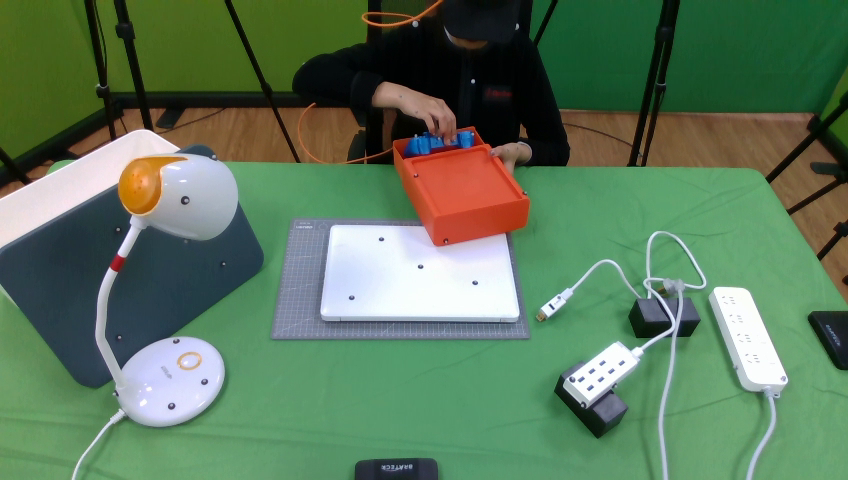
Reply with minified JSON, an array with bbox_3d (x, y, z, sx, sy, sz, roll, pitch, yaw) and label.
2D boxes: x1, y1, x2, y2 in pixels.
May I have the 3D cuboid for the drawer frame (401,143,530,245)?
[{"bbox_3d":[0.079,-0.099,1.233,0.202,0.083,0.212,-12,42,-14],"label":"drawer frame"}]

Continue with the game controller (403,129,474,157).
[{"bbox_3d":[0.035,-0.213,1.317,0.155,0.051,0.097,-10,8,-14],"label":"game controller"}]

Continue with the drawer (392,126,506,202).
[{"bbox_3d":[0.052,-0.151,1.293,0.195,0.073,0.210,-11,41,-12],"label":"drawer"}]

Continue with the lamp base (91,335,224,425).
[{"bbox_3d":[-0.401,0.171,0.892,0.160,0.181,0.179,30,53,23],"label":"lamp base"}]

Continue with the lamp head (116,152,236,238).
[{"bbox_3d":[-0.315,-0.057,0.748,0.112,0.112,0.123,26,10,20],"label":"lamp head"}]

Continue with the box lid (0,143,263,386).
[{"bbox_3d":[-0.444,0.032,0.979,0.015,0.264,0.371,13,42,41],"label":"box lid"}]

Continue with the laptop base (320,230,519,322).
[{"bbox_3d":[-0.009,0.062,1.138,0.354,0.023,0.234,1,43,-3],"label":"laptop base"}]

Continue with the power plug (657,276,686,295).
[{"bbox_3d":[0.450,0.087,1.113,0.073,0.052,0.035,-13,71,-55],"label":"power plug"}]

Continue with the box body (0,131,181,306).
[{"bbox_3d":[-0.550,-0.007,1.068,0.253,0.161,0.363,30,51,23],"label":"box body"}]

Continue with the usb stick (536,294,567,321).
[{"bbox_3d":[0.226,0.123,1.083,0.059,0.027,0.021,-37,77,-8],"label":"usb stick"}]

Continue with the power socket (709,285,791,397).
[{"bbox_3d":[0.568,0.168,1.064,0.072,0.033,0.225,2,46,0],"label":"power socket"}]

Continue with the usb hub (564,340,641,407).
[{"bbox_3d":[0.278,0.205,0.944,0.125,0.025,0.049,-27,51,-28],"label":"usb hub"}]

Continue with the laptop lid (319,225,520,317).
[{"bbox_3d":[-0.008,0.052,1.131,0.357,0.013,0.240,2,44,-2],"label":"laptop lid"}]
